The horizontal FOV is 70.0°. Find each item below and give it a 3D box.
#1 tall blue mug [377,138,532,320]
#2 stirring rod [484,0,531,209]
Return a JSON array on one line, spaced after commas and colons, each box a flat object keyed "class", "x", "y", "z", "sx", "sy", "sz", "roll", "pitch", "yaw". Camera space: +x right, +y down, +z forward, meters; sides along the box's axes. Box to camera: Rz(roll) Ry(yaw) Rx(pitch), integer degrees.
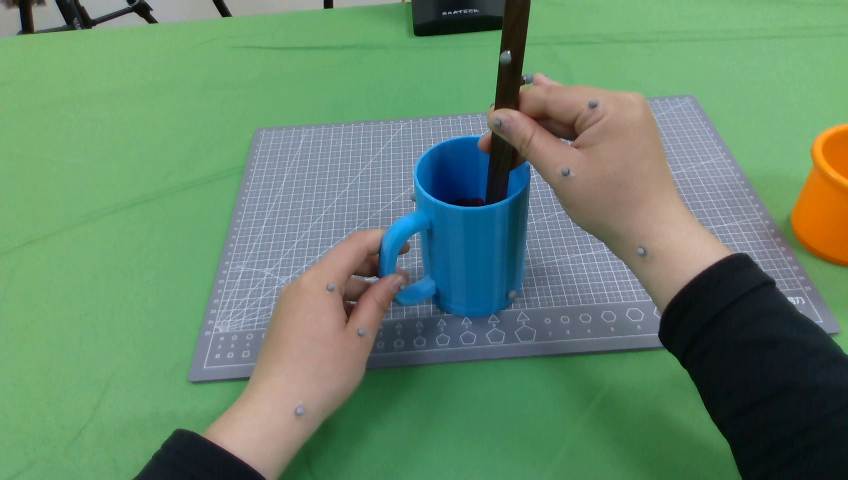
[{"class": "tall blue mug", "x": 0.026, "y": 0.004, "z": 0.418, "sx": 0.077, "sy": 0.109, "sz": 0.107, "roll": 19, "pitch": 50, "yaw": 21}, {"class": "stirring rod", "x": 0.047, "y": -0.056, "z": 0.365, "sx": 0.014, "sy": 0.177, "sz": 0.006, "roll": 7, "pitch": 39, "yaw": 7}]
